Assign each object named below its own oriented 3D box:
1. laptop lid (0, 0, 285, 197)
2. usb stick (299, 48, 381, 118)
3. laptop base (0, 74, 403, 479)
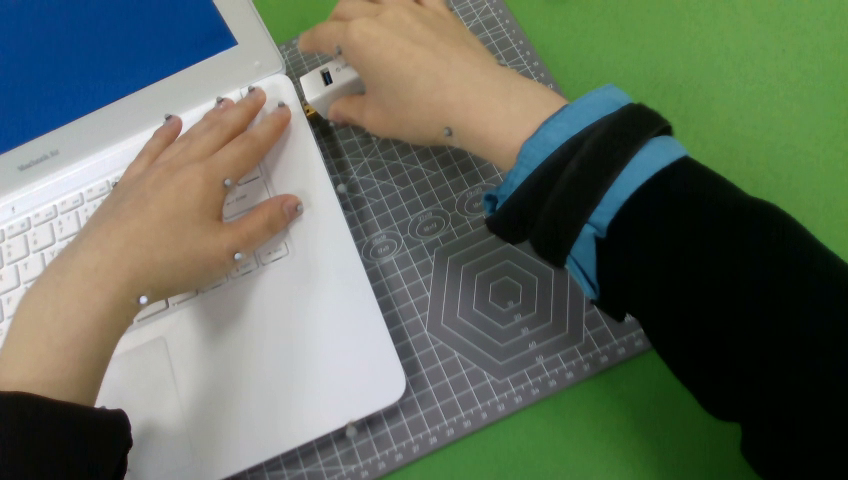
[{"bbox_3d":[-0.289,-0.123,0.340,0.357,0.244,0.013,-25,41,2],"label":"laptop lid"},{"bbox_3d":[-0.059,-0.096,0.384,0.059,0.027,0.021,-23,72,14],"label":"usb stick"},{"bbox_3d":[-0.209,0.056,0.373,0.354,0.023,0.233,-24,70,1],"label":"laptop base"}]
